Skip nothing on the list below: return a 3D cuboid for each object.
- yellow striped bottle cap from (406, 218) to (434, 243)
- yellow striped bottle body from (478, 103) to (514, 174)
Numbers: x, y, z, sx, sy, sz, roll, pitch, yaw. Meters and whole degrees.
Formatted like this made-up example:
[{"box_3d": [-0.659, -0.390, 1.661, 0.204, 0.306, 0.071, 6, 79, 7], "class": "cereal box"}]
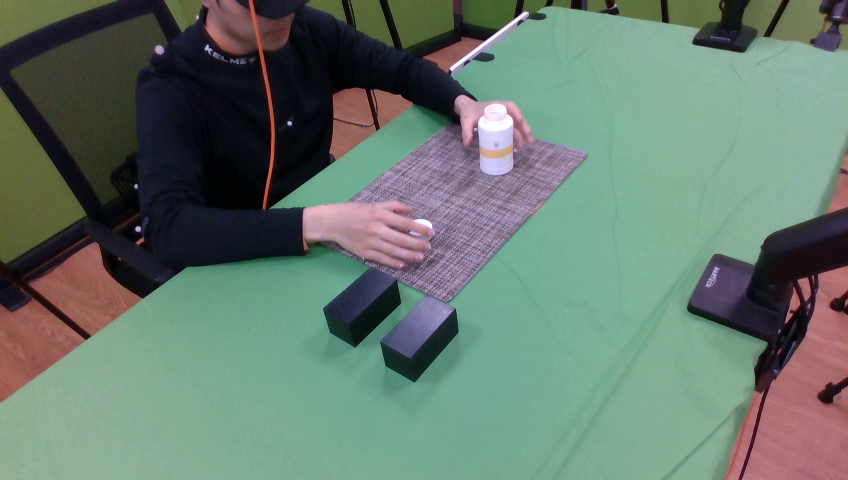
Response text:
[{"box_3d": [-0.007, -0.016, 0.987, 0.044, 0.019, 0.044, -4, 44, 5], "class": "yellow striped bottle cap"}, {"box_3d": [0.129, -0.183, 1.080, 0.063, 0.121, 0.062, -4, 41, 4], "class": "yellow striped bottle body"}]
